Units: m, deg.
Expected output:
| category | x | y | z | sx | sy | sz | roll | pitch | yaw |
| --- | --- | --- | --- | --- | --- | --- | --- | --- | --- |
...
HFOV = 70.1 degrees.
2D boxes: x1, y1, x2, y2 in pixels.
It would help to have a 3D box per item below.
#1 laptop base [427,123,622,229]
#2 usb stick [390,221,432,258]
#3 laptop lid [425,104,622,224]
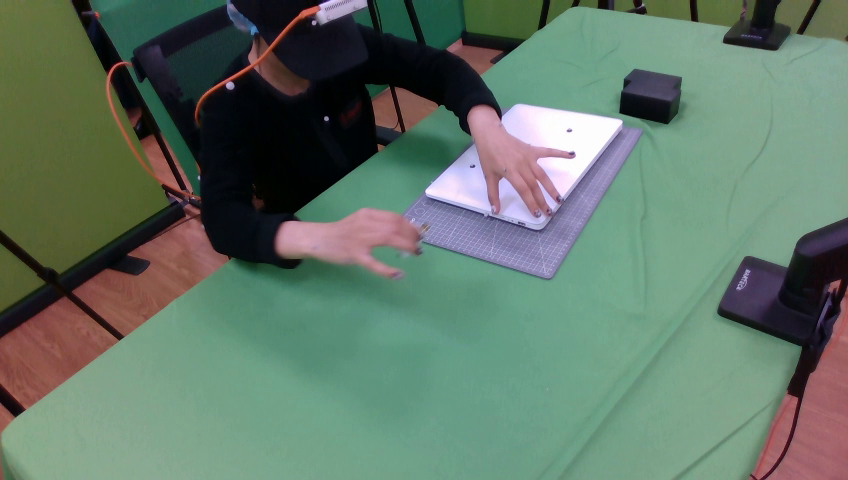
| category | x | y | z | sx | sy | sz | roll | pitch | yaw |
| --- | --- | --- | --- | --- | --- | --- | --- | --- | --- |
| laptop base | 0.193 | -0.148 | 1.122 | 0.233 | 0.023 | 0.355 | 17 | 46 | 32 |
| usb stick | -0.016 | -0.006 | 0.822 | 0.059 | 0.027 | 0.021 | -43 | 34 | -11 |
| laptop lid | 0.189 | -0.157 | 1.115 | 0.240 | 0.013 | 0.357 | 19 | 47 | 32 |
